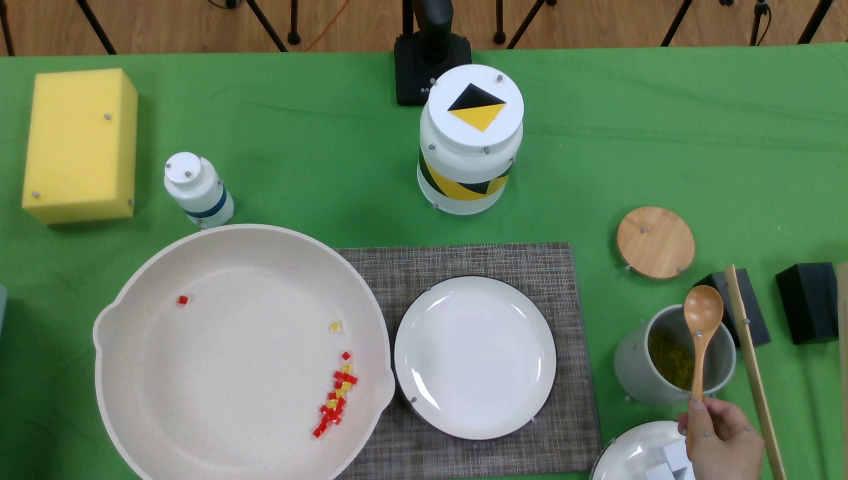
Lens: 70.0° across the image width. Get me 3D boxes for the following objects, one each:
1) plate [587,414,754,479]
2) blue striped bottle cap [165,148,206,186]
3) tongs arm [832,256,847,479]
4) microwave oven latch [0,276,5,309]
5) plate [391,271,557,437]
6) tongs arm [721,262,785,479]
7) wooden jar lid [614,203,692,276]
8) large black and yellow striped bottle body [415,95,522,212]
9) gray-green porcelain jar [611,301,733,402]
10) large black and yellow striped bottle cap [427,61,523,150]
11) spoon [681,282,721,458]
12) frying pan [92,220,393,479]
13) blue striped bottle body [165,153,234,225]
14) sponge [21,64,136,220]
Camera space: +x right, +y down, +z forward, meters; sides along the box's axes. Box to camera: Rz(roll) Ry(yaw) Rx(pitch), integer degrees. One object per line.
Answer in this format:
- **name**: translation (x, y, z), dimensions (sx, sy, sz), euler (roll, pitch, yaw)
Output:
- **plate**: translation (0.294, 0.316, 0.725), dimensions (0.208, 0.039, 0.206), euler (1, 69, -3)
- **blue striped bottle cap**: translation (-0.293, -0.090, 0.742), dimensions (0.044, 0.021, 0.044), euler (1, 71, -3)
- **tongs arm**: translation (0.515, 0.210, 0.748), dimensions (0.028, 0.028, 0.386), euler (8, 79, -8)
- **microwave oven latch**: translation (-0.539, 0.080, 0.743), dimensions (0.030, 0.029, 0.078), euler (-1, 70, -4)
- **plate**: translation (0.062, 0.143, 0.771), dimensions (0.209, 0.038, 0.207), euler (1, 70, -2)
- **tongs arm**: translation (0.430, 0.213, 0.741), dimensions (0.051, 0.026, 0.383), euler (-6, 80, -8)
- **wooden jar lid**: translation (0.320, 0.000, 0.852), dimensions (0.108, 0.021, 0.107), euler (1, 71, -2)
- **large black and yellow striped bottle body**: translation (0.056, -0.130, 0.798), dimensions (0.131, 0.185, 0.130), euler (1, 69, -3)
- **gray-green porcelain jar**: translation (0.295, 0.141, 0.742), dimensions (0.106, 0.127, 0.105), euler (1, 69, -2)
- **large black and yellow striped bottle cap**: translation (0.060, -0.161, 0.720), dimensions (0.115, 0.019, 0.114), euler (1, 71, -3)
- **spoon**: translation (0.297, 0.138, 0.663), dimensions (0.041, 0.022, 0.192), euler (7, 66, 21)
- **frying pan**: translation (-0.199, 0.218, 0.602), dimensions (0.308, 0.103, 0.484), euler (19, 61, -18)
- **blue striped bottle body**: translation (-0.294, -0.070, 0.789), dimensions (0.063, 0.121, 0.062), euler (1, 69, -2)
- **sponge**: translation (-0.470, -0.137, 0.835), dimensions (0.118, 0.061, 0.205), euler (-6, 71, -6)
